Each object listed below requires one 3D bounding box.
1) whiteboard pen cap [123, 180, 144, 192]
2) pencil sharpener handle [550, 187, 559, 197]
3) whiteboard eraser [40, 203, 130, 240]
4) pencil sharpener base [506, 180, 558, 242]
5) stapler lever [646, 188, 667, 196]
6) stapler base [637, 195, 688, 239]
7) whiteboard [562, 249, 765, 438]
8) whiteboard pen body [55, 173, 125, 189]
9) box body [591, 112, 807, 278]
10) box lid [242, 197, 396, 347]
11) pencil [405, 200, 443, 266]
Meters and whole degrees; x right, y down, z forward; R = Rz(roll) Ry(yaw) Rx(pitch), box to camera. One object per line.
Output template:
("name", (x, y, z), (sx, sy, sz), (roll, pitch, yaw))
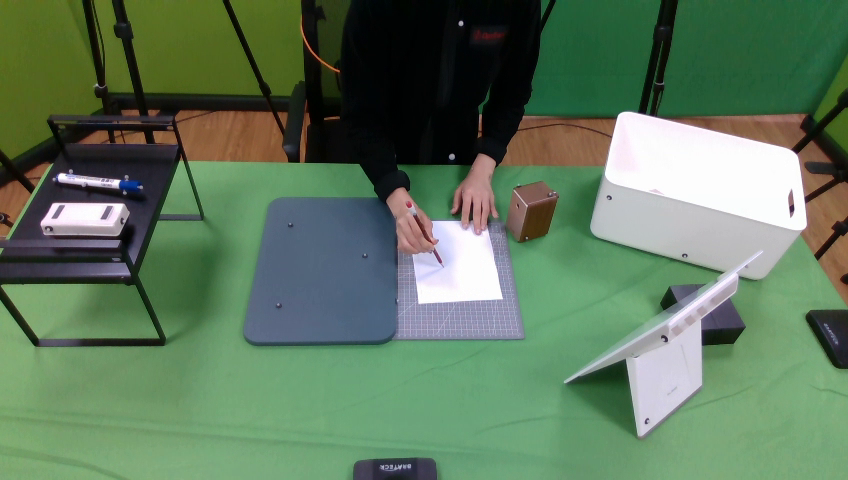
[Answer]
("whiteboard pen cap", (-0.479, -0.089, 0.993), (0.033, 0.018, 0.018), (7, 46, 14))
("pencil sharpener handle", (0.261, -0.084, 1.221), (0.031, 0.068, 0.036), (-16, 66, -19))
("whiteboard eraser", (-0.513, -0.028, 0.922), (0.113, 0.042, 0.055), (1, 48, -3))
("pencil sharpener base", (0.216, -0.058, 1.211), (0.077, 0.107, 0.061), (-16, 49, -19))
("stapler lever", (0.507, -0.075, 1.262), (0.027, 0.040, 0.117), (-14, 46, -19))
("stapler base", (0.507, -0.055, 1.280), (0.041, 0.024, 0.129), (-14, 47, -19))
("whiteboard", (0.386, 0.175, 0.905), (0.217, 0.306, 0.143), (-26, 72, -26))
("whiteboard pen body", (-0.539, -0.095, 0.998), (0.141, 0.017, 0.017), (6, 46, 6))
("box body", (0.540, -0.092, 1.229), (0.363, 0.161, 0.253), (16, 47, 11))
("box lid", (-0.186, 0.046, 1.147), (0.263, 0.015, 0.369), (0, 46, -3))
("pencil", (0.004, -0.007, 1.089), (0.012, 0.195, 0.012), (-12, 50, 15))
